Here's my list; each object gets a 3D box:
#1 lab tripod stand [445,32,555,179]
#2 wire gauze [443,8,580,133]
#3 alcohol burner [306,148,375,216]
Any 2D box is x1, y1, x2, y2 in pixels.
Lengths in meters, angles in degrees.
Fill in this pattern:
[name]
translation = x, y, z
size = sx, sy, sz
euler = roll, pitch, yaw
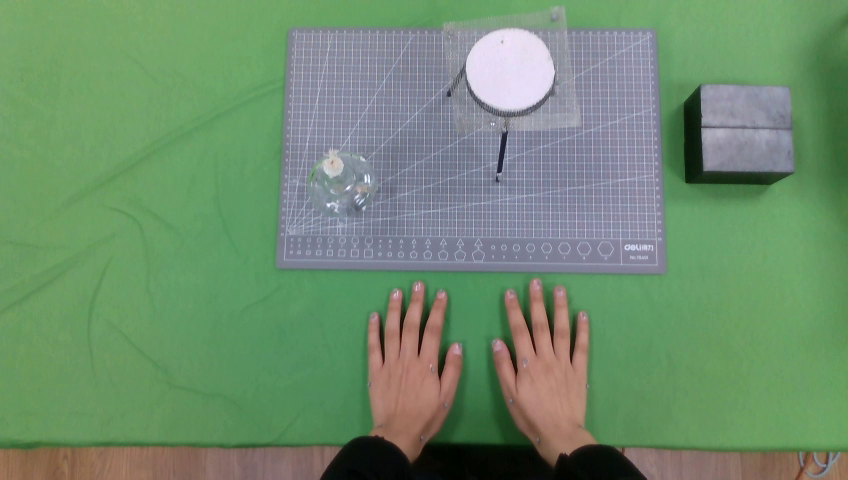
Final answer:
[lab tripod stand]
translation = 0.089, -0.156, 0.660
size = 0.148, 0.132, 0.147
euler = 0, 79, 1
[wire gauze]
translation = 0.085, -0.166, 0.594
size = 0.125, 0.011, 0.121
euler = -5, 81, 0
[alcohol burner]
translation = -0.093, -0.068, 0.661
size = 0.078, 0.119, 0.077
euler = 0, 78, 1
